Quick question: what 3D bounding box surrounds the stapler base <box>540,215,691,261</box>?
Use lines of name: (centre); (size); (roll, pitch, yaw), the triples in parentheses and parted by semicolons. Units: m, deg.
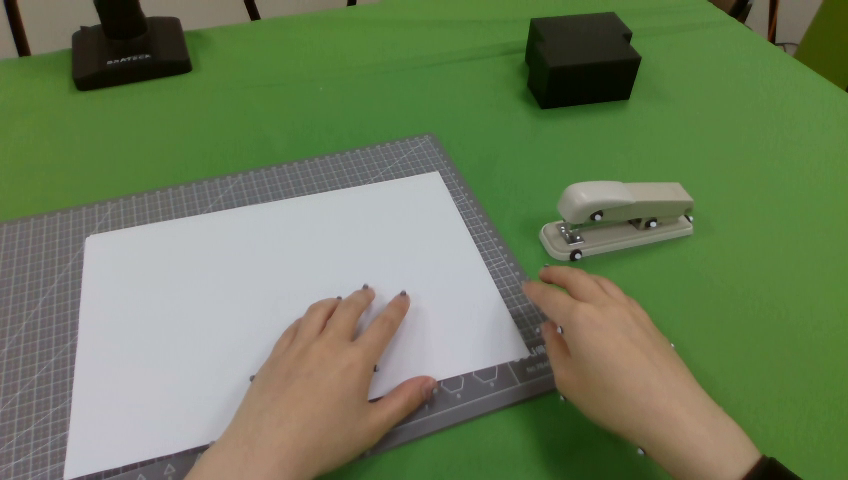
stapler base: (0.163, -0.014, 0.508); (0.131, 0.024, 0.041); (-10, 50, -14)

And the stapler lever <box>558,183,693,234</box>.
stapler lever: (0.165, -0.031, 0.491); (0.118, 0.040, 0.026); (-11, 50, -14)
